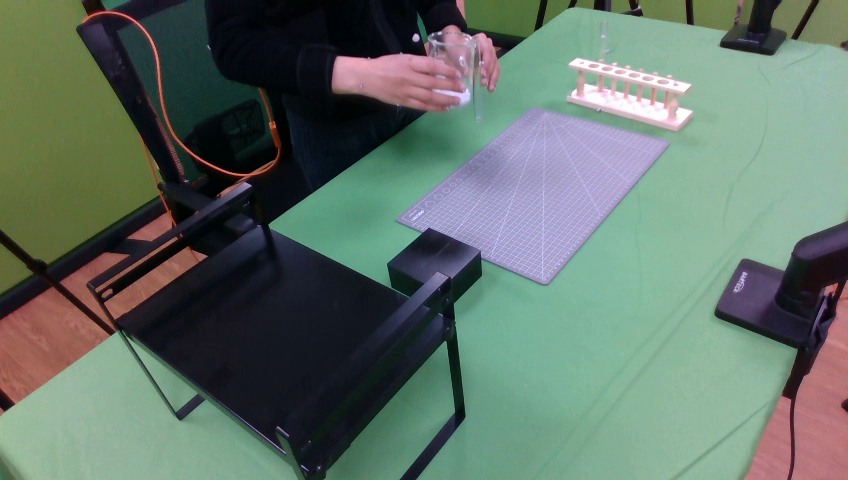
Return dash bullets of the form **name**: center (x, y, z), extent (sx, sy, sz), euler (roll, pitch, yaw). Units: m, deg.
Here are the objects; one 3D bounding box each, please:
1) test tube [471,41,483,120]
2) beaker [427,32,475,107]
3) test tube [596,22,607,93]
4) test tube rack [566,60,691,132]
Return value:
- **test tube**: center (0.095, -0.282, 1.084), extent (0.017, 0.151, 0.017), euler (-4, 41, 4)
- **beaker**: center (0.042, -0.266, 0.945), extent (0.084, 0.100, 0.073), euler (-24, 41, -35)
- **test tube**: center (0.363, -0.372, 1.240), extent (0.017, 0.151, 0.017), euler (-6, 40, 5)
- **test tube rack**: center (0.411, -0.299, 1.217), extent (0.240, 0.085, 0.067), euler (26, 51, 33)
